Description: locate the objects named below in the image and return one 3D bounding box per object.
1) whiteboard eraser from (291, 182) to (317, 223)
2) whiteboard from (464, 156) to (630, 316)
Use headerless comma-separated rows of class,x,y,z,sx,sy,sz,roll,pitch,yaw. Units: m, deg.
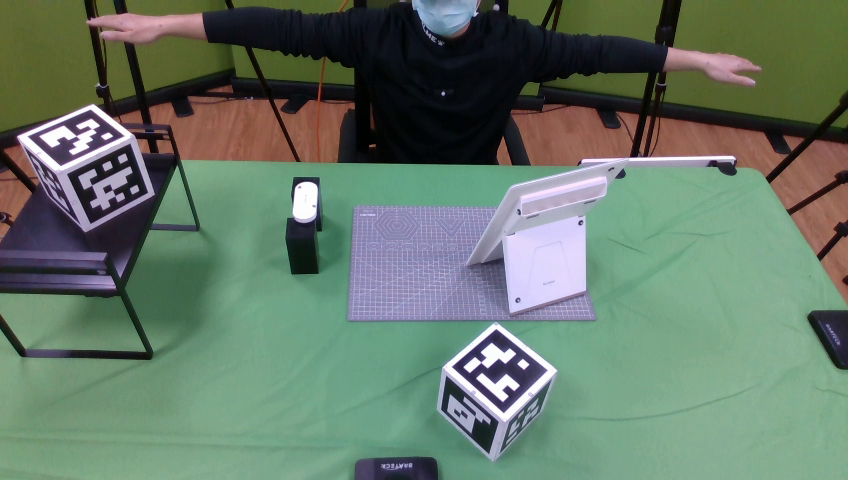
whiteboard eraser,-0.219,-0.070,1.111,0.041,0.019,0.100,-2,45,-3
whiteboard,0.224,0.014,1.041,0.217,0.306,0.143,-14,68,-17
